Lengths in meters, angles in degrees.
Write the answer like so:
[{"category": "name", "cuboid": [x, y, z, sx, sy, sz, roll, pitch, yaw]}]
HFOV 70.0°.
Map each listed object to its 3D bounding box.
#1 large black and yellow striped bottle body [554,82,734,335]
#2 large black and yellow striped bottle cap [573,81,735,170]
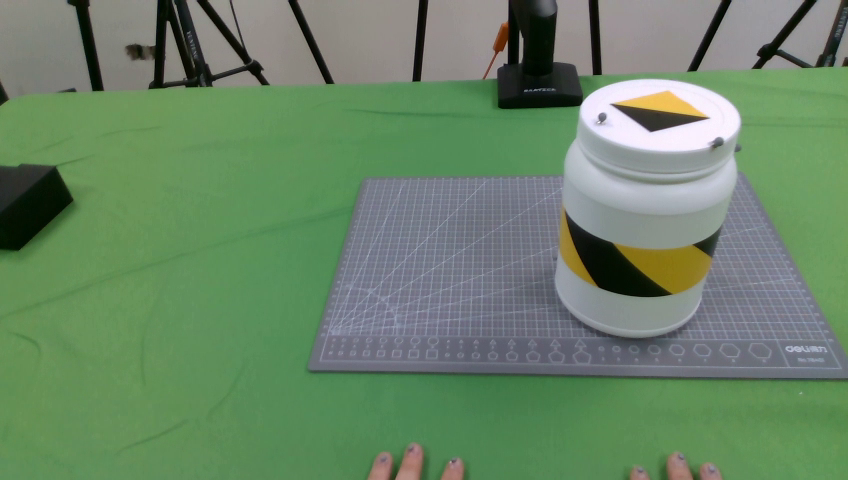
[{"category": "large black and yellow striped bottle body", "cuboid": [0.180, -0.025, 0.512, 0.131, 0.186, 0.129, -3, 40, 3]}, {"category": "large black and yellow striped bottle cap", "cuboid": [0.172, -0.090, 0.458, 0.115, 0.019, 0.114, -2, 39, 2]}]
